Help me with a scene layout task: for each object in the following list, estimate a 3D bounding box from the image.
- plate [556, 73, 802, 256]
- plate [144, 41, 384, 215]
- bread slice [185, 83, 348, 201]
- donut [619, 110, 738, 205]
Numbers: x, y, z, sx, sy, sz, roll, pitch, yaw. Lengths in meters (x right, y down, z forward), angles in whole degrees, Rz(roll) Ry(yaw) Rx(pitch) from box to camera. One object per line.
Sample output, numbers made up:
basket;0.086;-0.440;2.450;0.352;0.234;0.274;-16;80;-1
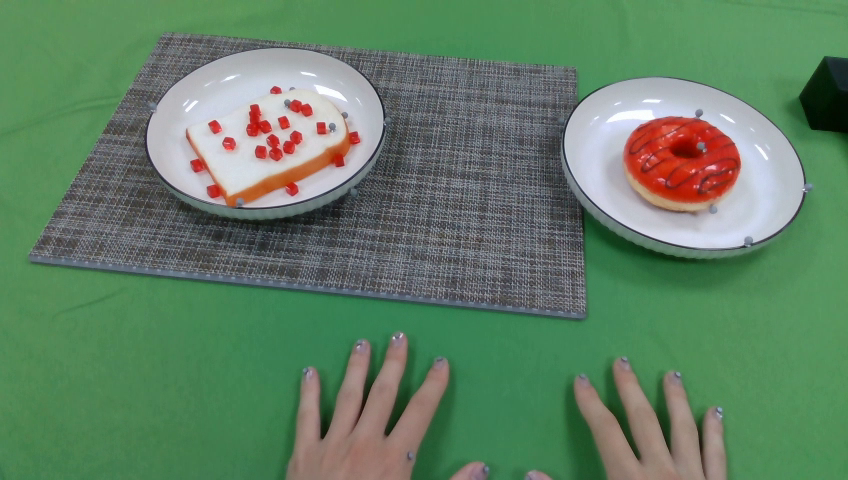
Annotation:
plate;0.220;-0.067;0.541;0.208;0.039;0.205;1;55;-1
plate;-0.140;-0.102;0.550;0.209;0.038;0.207;1;55;-1
bread slice;-0.138;-0.097;0.549;0.131;0.019;0.104;-29;61;-19
donut;0.221;-0.074;0.531;0.099;0.048;0.098;0;55;1
